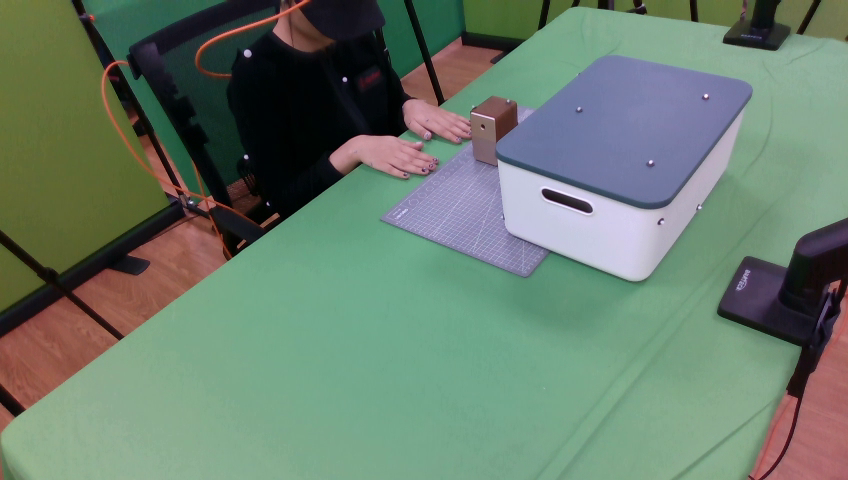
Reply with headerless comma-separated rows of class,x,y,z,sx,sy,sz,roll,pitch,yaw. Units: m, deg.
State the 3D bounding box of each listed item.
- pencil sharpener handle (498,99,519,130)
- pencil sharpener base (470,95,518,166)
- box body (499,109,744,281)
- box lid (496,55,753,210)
pencil sharpener handle,0.165,-0.243,1.148,0.035,0.068,0.031,22,49,35
pencil sharpener base,0.134,-0.205,1.128,0.061,0.107,0.077,23,50,33
box body,0.315,-0.124,0.958,0.252,0.161,0.365,24,50,32
box lid,0.308,-0.181,0.911,0.261,0.015,0.372,24,50,31
